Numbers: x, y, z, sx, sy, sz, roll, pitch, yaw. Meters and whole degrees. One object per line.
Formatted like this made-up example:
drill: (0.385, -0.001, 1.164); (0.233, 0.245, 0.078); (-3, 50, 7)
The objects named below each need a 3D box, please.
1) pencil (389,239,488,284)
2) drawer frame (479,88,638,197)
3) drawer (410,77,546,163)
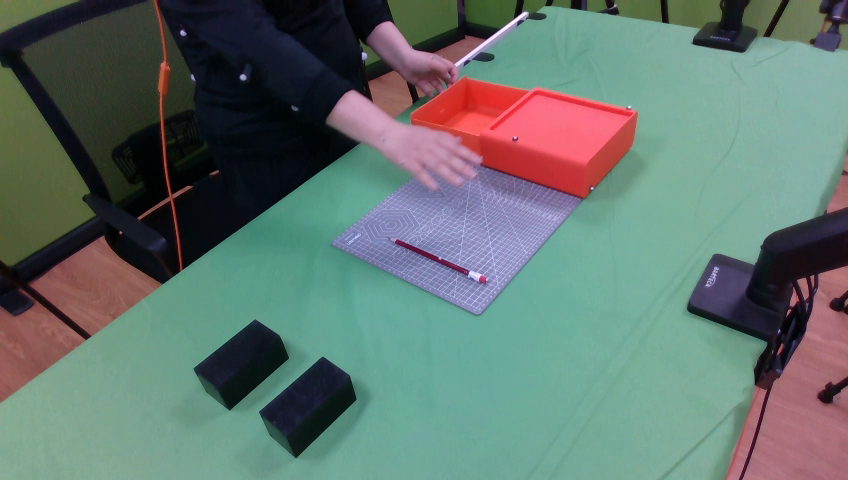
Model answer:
pencil: (0.018, 0.030, 0.938); (0.192, 0.012, 0.012); (22, 48, 32)
drawer frame: (0.243, -0.184, 1.100); (0.212, 0.083, 0.202); (23, 48, 30)
drawer: (0.114, -0.235, 1.186); (0.210, 0.073, 0.195); (21, 46, 32)
